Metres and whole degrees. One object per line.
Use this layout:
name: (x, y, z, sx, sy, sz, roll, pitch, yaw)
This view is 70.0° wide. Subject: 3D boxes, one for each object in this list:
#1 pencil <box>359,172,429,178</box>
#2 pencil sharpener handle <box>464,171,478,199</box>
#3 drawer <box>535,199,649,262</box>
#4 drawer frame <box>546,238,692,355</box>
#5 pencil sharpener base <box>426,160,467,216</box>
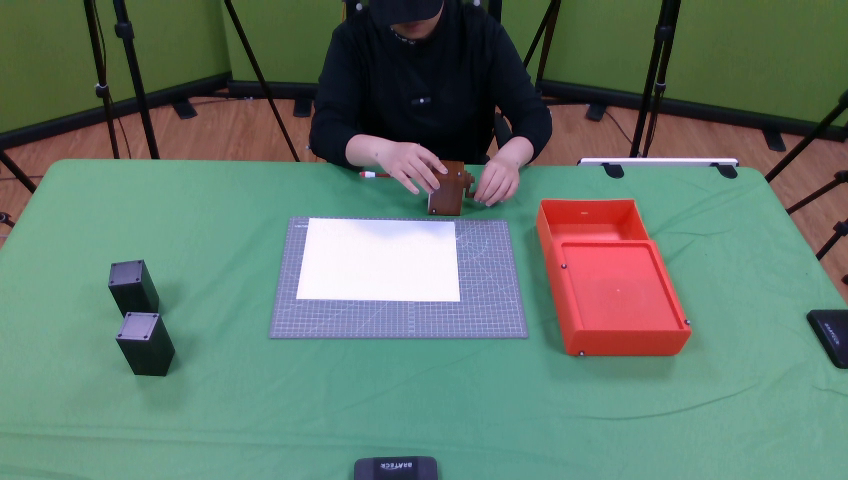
pencil: (-0.034, -0.130, 1.225, 0.194, 0.012, 0.012, 1, 45, -3)
pencil sharpener handle: (0.097, -0.111, 1.238, 0.030, 0.068, 0.036, 2, 43, -2)
drawer: (0.332, 0.015, 1.169, 0.195, 0.073, 0.210, 0, 46, -5)
drawer frame: (0.338, 0.097, 1.086, 0.202, 0.083, 0.212, 0, 46, -4)
pencil sharpener base: (0.046, -0.105, 1.245, 0.077, 0.107, 0.061, 2, 45, -2)
